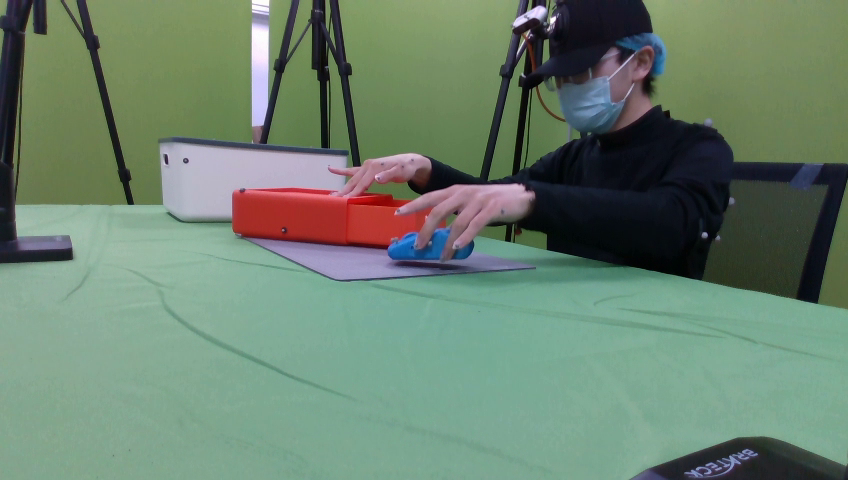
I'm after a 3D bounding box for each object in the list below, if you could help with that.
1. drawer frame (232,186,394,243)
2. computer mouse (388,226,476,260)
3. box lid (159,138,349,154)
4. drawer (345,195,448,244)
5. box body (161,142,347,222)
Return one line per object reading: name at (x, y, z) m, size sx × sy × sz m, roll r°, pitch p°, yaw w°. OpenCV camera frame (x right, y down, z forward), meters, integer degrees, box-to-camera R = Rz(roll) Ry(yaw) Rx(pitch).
drawer frame at (-0.186, -0.049, 1.059) m, size 0.213 × 0.082 × 0.202 m, roll 4°, pitch 8°, yaw 17°
computer mouse at (0.010, 0.005, 0.803) m, size 0.117 × 0.041 × 0.063 m, roll -5°, pitch 7°, yaw 11°
box lid at (-0.376, -0.206, 1.344) m, size 0.373 × 0.015 × 0.262 m, roll -1°, pitch 8°, yaw -30°
drawer at (-0.082, -0.041, 1.029) m, size 0.211 × 0.073 × 0.195 m, roll 4°, pitch 9°, yaw 16°
box body at (-0.380, -0.132, 1.352) m, size 0.366 × 0.160 × 0.253 m, roll -2°, pitch 9°, yaw -30°
